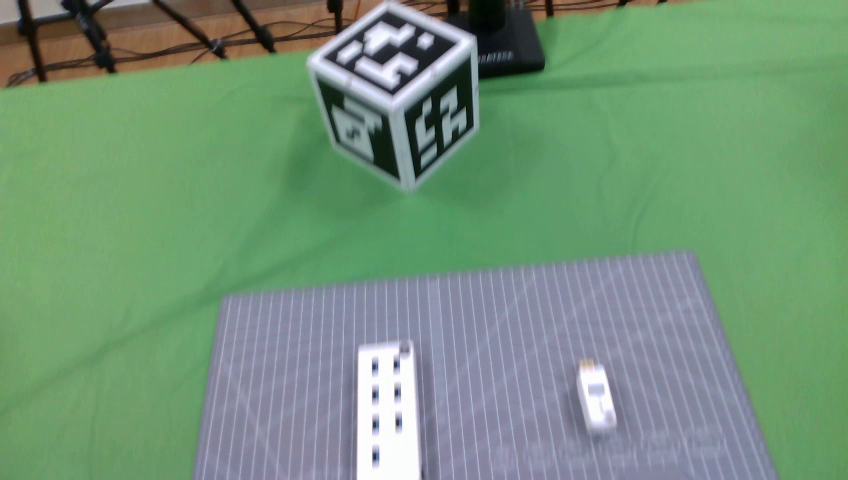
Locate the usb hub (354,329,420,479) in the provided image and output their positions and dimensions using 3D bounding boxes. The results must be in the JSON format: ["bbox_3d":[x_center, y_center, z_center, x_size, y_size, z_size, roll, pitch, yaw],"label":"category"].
[{"bbox_3d":[-0.030,0.134,0.492,0.049,0.025,0.124,-5,55,2],"label":"usb hub"}]

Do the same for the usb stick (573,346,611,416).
[{"bbox_3d":[0.134,0.110,0.490,0.021,0.027,0.058,-6,53,4],"label":"usb stick"}]
